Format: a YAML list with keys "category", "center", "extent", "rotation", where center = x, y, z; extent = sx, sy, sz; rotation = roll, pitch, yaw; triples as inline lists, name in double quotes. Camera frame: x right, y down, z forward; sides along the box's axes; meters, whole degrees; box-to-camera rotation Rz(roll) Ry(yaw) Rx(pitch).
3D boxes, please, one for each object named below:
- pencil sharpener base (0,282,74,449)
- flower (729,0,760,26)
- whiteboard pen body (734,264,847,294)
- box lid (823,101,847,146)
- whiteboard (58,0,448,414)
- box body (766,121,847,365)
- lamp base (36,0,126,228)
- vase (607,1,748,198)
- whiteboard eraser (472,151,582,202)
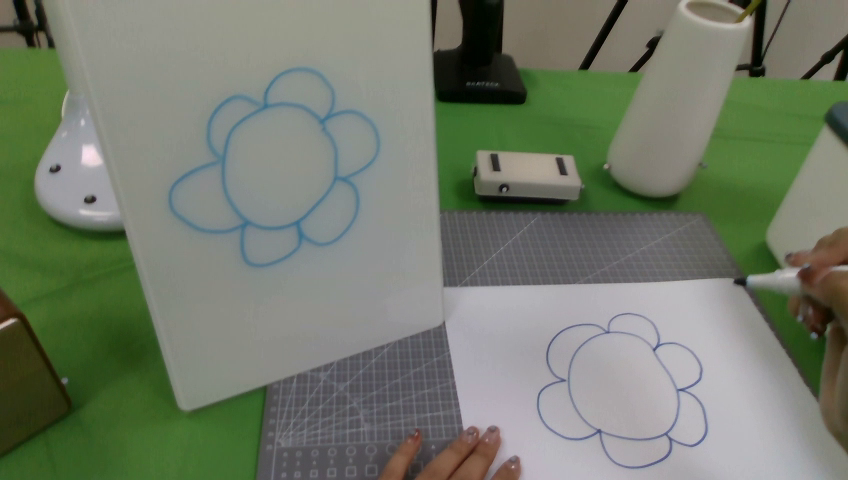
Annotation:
- category: "pencil sharpener base"
  center: [-0.291, 0.075, 0.398]
  extent: [0.076, 0.108, 0.061]
  rotation: [33, 49, 26]
- category: "flower"
  center: [0.285, -0.192, 0.577]
  extent: [0.044, 0.363, 0.038]
  rotation: [-20, 67, -35]
- category: "whiteboard pen body"
  center: [0.234, 0.019, 0.308]
  extent: [0.140, 0.017, 0.017]
  rotation: [-5, 31, 38]
- category: "box lid"
  center: [0.496, 0.004, 0.437]
  extent: [0.264, 0.015, 0.367]
  rotation: [1, 43, -7]
- category: "whiteboard"
  center: [-0.115, -0.062, 0.467]
  extent: [0.218, 0.307, 0.142]
  rotation: [-15, 28, -21]
- category: "box body"
  center: [0.490, 0.057, 0.490]
  extent: [0.254, 0.162, 0.360]
  rotation: [1, 43, -6]
- category: "lamp base"
  center: [-0.301, -0.128, 0.560]
  extent: [0.178, 0.182, 0.160]
  rotation: [28, 47, 24]
- category: "vase"
  center: [0.267, -0.142, 0.642]
  extent: [0.098, 0.201, 0.097]
  rotation: [5, 43, -4]
- category: "whiteboard eraser"
  center: [0.110, -0.067, 0.656]
  extent: [0.113, 0.042, 0.055]
  rotation: [1, 41, -5]
